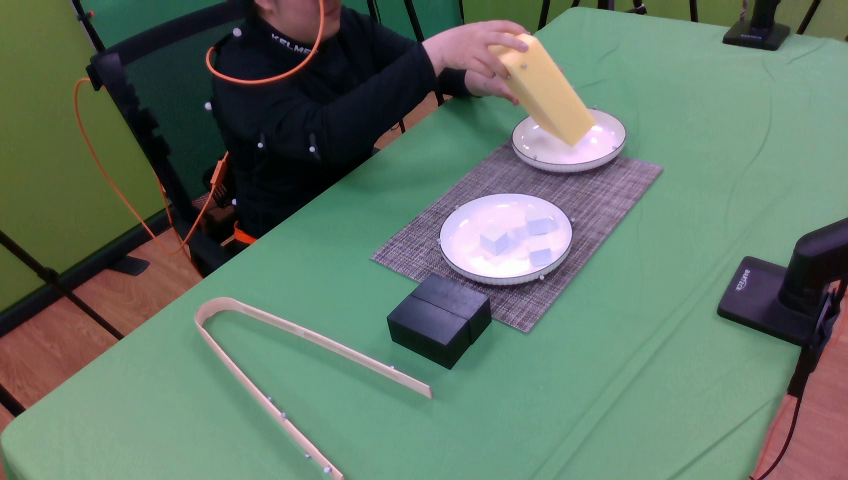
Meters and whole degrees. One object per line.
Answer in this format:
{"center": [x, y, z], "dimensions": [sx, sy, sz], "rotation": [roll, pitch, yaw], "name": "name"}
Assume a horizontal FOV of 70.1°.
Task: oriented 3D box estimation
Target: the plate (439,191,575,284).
{"center": [0.129, -0.002, 0.942], "dimensions": [0.207, 0.039, 0.206], "rotation": [-5, 40, 5], "name": "plate"}

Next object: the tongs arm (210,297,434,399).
{"center": [-0.153, 0.143, 0.837], "dimensions": [0.385, 0.028, 0.028], "rotation": [17, 49, 28], "name": "tongs arm"}

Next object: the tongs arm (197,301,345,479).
{"center": [-0.206, 0.185, 0.791], "dimensions": [0.381, 0.026, 0.051], "rotation": [28, 51, 37], "name": "tongs arm"}

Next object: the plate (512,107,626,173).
{"center": [0.269, -0.185, 1.132], "dimensions": [0.209, 0.038, 0.208], "rotation": [-5, 40, 5], "name": "plate"}

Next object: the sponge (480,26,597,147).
{"center": [0.198, -0.263, 1.042], "dimensions": [0.061, 0.208, 0.117], "rotation": [-46, 37, 6], "name": "sponge"}
